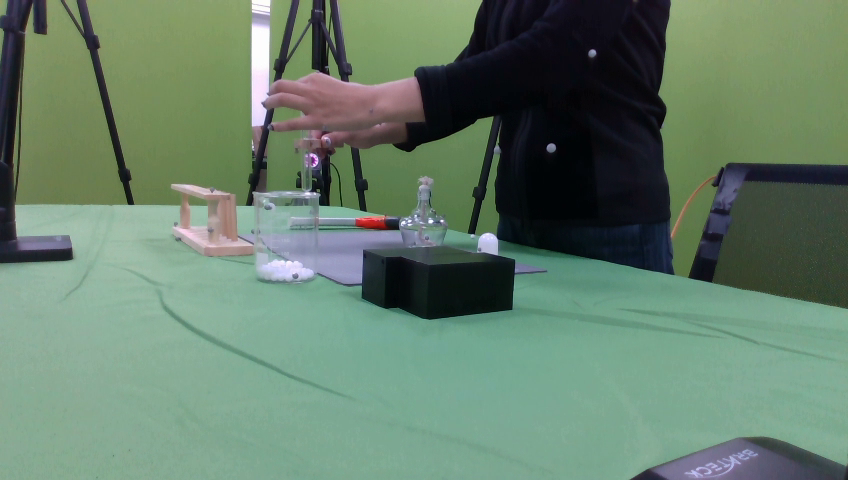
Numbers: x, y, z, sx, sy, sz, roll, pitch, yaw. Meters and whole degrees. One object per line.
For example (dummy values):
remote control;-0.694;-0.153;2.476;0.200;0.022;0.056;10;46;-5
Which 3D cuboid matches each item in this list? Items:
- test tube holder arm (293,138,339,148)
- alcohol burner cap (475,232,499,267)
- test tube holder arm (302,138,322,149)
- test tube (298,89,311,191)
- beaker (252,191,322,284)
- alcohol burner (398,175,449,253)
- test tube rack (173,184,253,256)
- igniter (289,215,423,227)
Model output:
test tube holder arm;-0.169;-0.155;0.964;0.013;0.015;0.178;10;11;8
alcohol burner cap;0.088;0.012;0.830;0.034;0.048;0.034;2;7;0
test tube holder arm;-0.169;-0.146;0.920;0.010;0.015;0.088;9;11;2
test tube;-0.177;-0.146;0.896;0.017;0.150;0.017;1;16;0
beaker;-0.159;-0.005;0.685;0.083;0.100;0.074;5;7;23
alcohol burner;-0.001;-0.041;0.936;0.078;0.119;0.078;0;8;0
test tube rack;-0.329;-0.036;0.927;0.067;0.085;0.241;-2;9;-32
igniter;-0.133;-0.038;1.231;0.278;0.025;0.057;-1;-2;-25
